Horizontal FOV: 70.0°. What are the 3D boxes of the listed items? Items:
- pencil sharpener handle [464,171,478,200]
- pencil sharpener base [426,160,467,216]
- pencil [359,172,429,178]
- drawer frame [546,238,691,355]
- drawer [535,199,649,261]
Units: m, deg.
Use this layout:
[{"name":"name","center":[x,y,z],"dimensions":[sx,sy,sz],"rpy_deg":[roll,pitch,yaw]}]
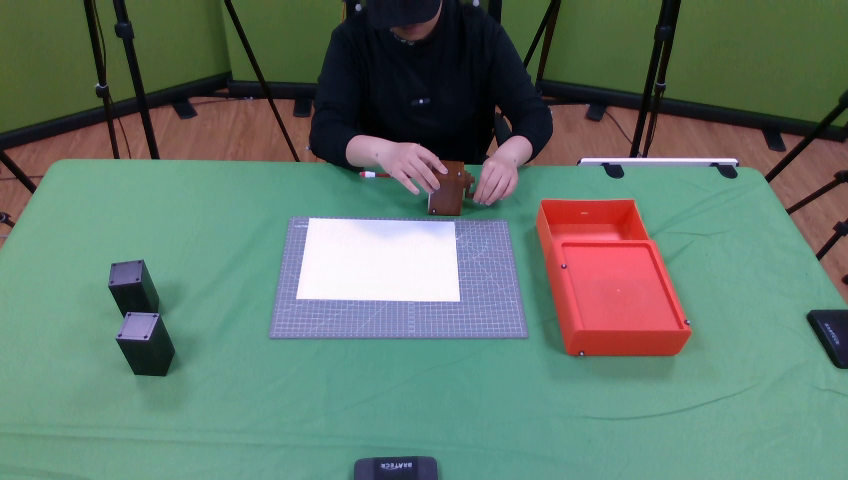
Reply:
[{"name":"pencil sharpener handle","center":[0.097,-0.110,1.237],"dimensions":[0.030,0.068,0.036],"rpy_deg":[3,41,-2]},{"name":"pencil sharpener base","center":[0.046,-0.105,1.245],"dimensions":[0.077,0.107,0.061],"rpy_deg":[3,46,-2]},{"name":"pencil","center":[-0.034,-0.129,1.225],"dimensions":[0.194,0.012,0.012],"rpy_deg":[1,45,-3]},{"name":"drawer frame","center":[0.338,0.097,1.086],"dimensions":[0.202,0.083,0.212],"rpy_deg":[0,46,-4]},{"name":"drawer","center":[0.332,0.015,1.169],"dimensions":[0.195,0.073,0.210],"rpy_deg":[0,46,-5]}]
